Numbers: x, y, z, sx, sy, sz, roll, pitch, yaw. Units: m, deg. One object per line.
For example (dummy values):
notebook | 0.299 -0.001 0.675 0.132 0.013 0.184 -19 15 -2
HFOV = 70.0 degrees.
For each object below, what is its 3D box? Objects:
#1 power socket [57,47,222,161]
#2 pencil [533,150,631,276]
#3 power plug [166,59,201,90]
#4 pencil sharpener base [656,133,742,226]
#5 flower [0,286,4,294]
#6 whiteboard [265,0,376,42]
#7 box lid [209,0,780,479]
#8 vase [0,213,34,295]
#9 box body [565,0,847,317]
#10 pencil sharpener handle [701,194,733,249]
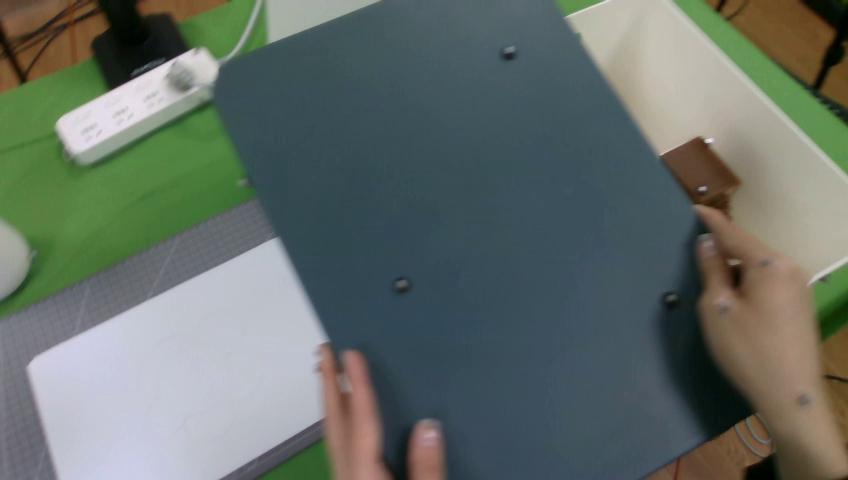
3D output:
power socket | -0.363 -0.179 0.790 0.227 0.033 0.071 -33 67 -16
pencil | 0.183 -0.035 0.708 0.012 0.012 0.192 -26 64 -12
power plug | -0.305 -0.198 0.773 0.035 0.053 0.072 -24 66 -11
pencil sharpener base | 0.283 -0.050 0.662 0.061 0.108 0.076 -26 65 -14
flower | -0.499 -0.071 0.547 0.043 0.365 0.038 29 58 36
whiteboard | -0.049 -0.234 0.694 0.216 0.308 0.143 22 45 13
box lid | 0.038 -0.016 0.406 0.263 0.015 0.369 -25 77 -10
vase | -0.494 -0.015 0.611 0.098 0.201 0.097 -1 62 2
box body | 0.224 -0.061 0.643 0.254 0.161 0.360 -26 64 -12
pencil sharpener handle | 0.308 -0.017 0.631 0.036 0.068 0.030 -27 65 -11
